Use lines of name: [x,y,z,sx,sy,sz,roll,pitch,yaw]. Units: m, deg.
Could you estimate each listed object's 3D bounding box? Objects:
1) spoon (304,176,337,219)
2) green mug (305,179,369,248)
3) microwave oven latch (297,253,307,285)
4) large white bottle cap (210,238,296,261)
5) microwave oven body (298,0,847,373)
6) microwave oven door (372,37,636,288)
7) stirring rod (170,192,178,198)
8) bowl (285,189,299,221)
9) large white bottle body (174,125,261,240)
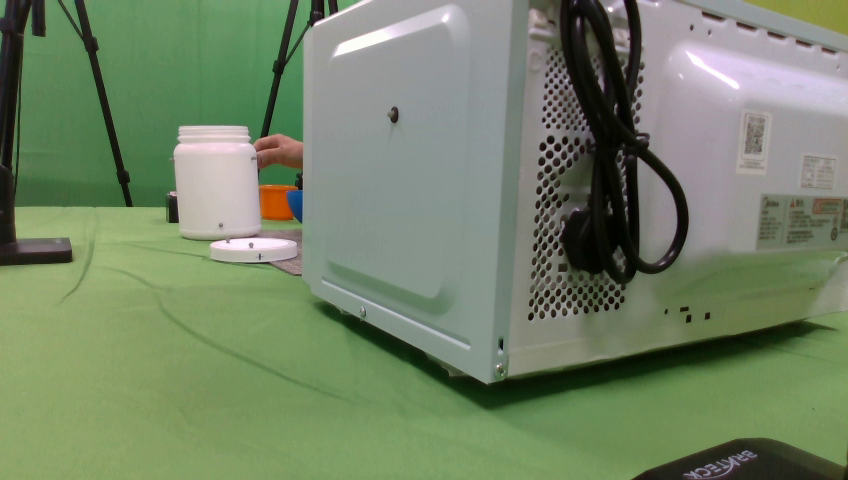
spoon: [-0.201,-0.084,1.146,0.042,0.021,0.193,3,30,-25]
green mug: [-0.133,-0.044,0.977,0.092,0.105,0.126,6,8,32]
microwave oven latch: [-0.081,0.027,0.582,0.079,0.029,0.030,-1,7,-32]
large white bottle cap: [-0.236,0.012,0.839,0.115,0.018,0.115,1,7,0]
microwave oven body: [0.151,-0.055,0.542,0.444,0.260,0.324,-2,7,-33]
microwave oven door: [0.109,-0.080,0.686,0.358,0.243,0.039,-2,9,-33]
stirring rod: [-0.465,-0.098,1.283,0.014,0.006,0.177,42,21,17]
bowl: [-0.180,-0.050,1.113,0.151,0.077,0.151,3,8,0]
large white bottle body: [-0.349,-0.099,1.025,0.131,0.184,0.130,-1,9,0]
